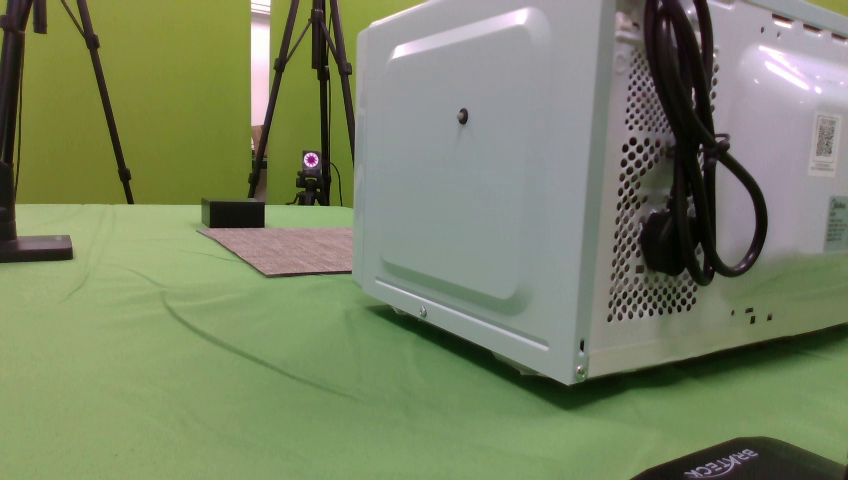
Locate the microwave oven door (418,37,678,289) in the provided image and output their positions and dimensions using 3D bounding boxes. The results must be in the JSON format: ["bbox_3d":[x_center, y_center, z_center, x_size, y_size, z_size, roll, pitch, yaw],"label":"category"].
[{"bbox_3d":[0.159,-0.079,0.684,0.358,0.243,0.039,-2,9,-32],"label":"microwave oven door"}]

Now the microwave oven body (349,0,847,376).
[{"bbox_3d":[0.199,-0.053,0.540,0.444,0.260,0.324,-1,7,-32],"label":"microwave oven body"}]

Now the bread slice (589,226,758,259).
[{"bbox_3d":[0.226,0.001,0.569,0.132,0.019,0.104,4,5,-23],"label":"bread slice"}]

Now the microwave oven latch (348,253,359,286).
[{"bbox_3d":[-0.034,0.028,0.581,0.079,0.029,0.030,-1,7,-32],"label":"microwave oven latch"}]

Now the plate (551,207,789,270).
[{"bbox_3d":[0.224,-0.004,0.572,0.209,0.038,0.209,3,8,0],"label":"plate"}]
